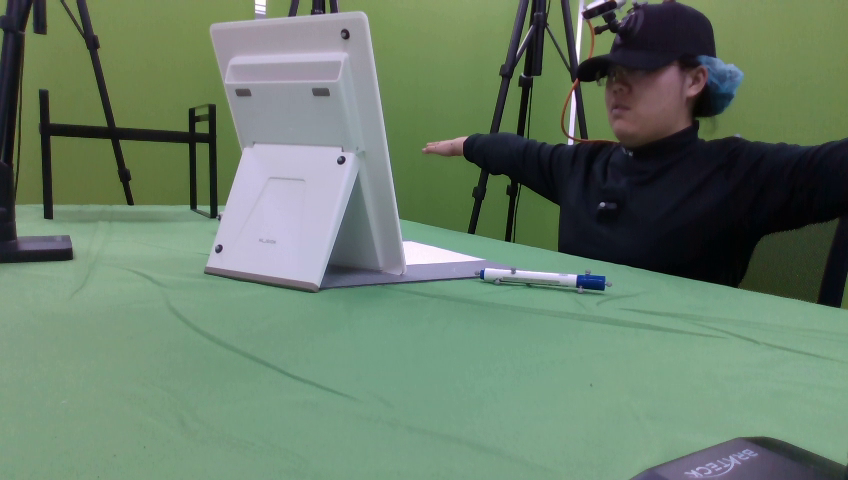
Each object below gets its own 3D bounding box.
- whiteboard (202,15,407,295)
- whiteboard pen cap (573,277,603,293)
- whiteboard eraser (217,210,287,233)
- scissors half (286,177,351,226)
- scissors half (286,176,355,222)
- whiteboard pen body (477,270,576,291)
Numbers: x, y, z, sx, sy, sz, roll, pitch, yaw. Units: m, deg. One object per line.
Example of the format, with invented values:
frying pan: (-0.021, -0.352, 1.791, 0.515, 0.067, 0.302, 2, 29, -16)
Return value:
whiteboard: (-0.167, -0.073, 0.668, 0.216, 0.305, 0.144, 7, 30, 28)
whiteboard pen cap: (0.186, 0.051, 0.687, 0.033, 0.018, 0.018, 4, 7, 18)
whiteboard eraser: (-0.310, -0.034, 1.094, 0.113, 0.042, 0.055, -2, 11, -38)
scissors half: (-0.232, -0.085, 1.317, 0.175, 0.013, 0.040, 38, 20, 4)
scissors half: (-0.229, -0.091, 1.337, 0.175, 0.013, 0.040, 33, 15, -13)
whiteboard pen body: (0.131, 0.048, 0.706, 0.140, 0.017, 0.017, 4, 7, 18)
